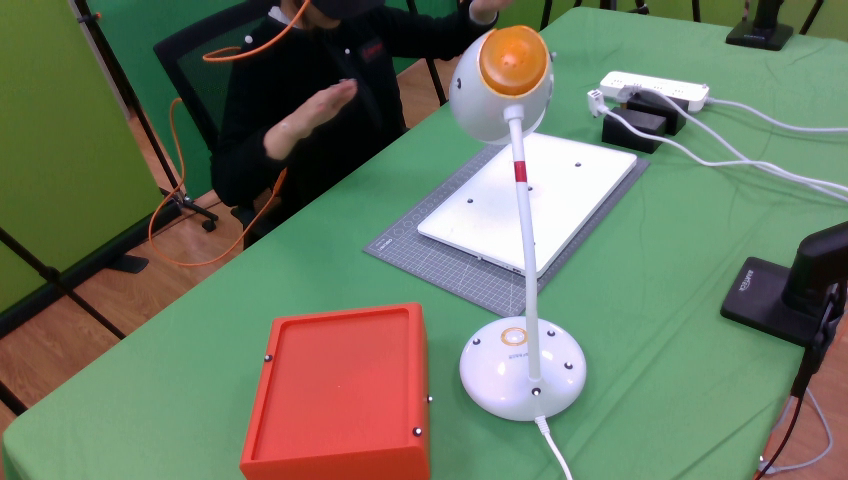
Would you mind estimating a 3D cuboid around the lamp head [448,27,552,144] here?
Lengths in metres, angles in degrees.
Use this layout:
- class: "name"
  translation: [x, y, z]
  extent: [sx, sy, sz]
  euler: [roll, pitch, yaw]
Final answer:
- class: "lamp head"
  translation: [0.082, -0.161, 0.618]
  extent: [0.112, 0.112, 0.123]
  euler: [-10, 2, -1]

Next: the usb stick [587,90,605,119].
- class: "usb stick"
  translation: [0.334, -0.258, 1.171]
  extent: [0.021, 0.059, 0.027]
  euler: [-28, 44, -4]

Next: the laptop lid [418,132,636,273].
- class: "laptop lid"
  translation: [0.181, -0.084, 1.036]
  extent: [0.239, 0.013, 0.358]
  euler: [22, 49, 35]

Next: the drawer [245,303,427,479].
- class: "drawer"
  translation: [-0.097, 0.184, 0.743]
  extent: [0.194, 0.073, 0.210]
  euler: [-6, 41, 3]

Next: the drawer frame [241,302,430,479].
- class: "drawer frame"
  translation: [-0.095, 0.184, 0.739]
  extent: [0.202, 0.083, 0.212]
  euler: [-7, 40, 3]

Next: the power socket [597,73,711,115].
- class: "power socket"
  translation: [0.469, -0.304, 1.249]
  extent: [0.225, 0.033, 0.072]
  euler: [20, 49, 30]

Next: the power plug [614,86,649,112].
- class: "power plug"
  translation: [0.406, -0.275, 1.192]
  extent: [0.035, 0.053, 0.072]
  euler: [-15, 24, -16]

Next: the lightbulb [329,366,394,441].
- class: "lightbulb"
  translation: [-0.081, 0.195, 0.738]
  extent: [0.060, 0.060, 0.107]
  euler: [-32, 61, -25]

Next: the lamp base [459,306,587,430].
- class: "lamp base"
  translation: [0.119, 0.107, 0.713]
  extent: [0.161, 0.181, 0.178]
  euler: [-14, 42, -6]

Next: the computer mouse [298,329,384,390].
- class: "computer mouse"
  translation: [-0.111, 0.156, 0.799]
  extent: [0.117, 0.041, 0.062]
  euler: [-15, 41, 1]

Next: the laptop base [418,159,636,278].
- class: "laptop base"
  translation: [0.185, -0.074, 1.042]
  extent: [0.233, 0.023, 0.355]
  euler: [19, 47, 35]
